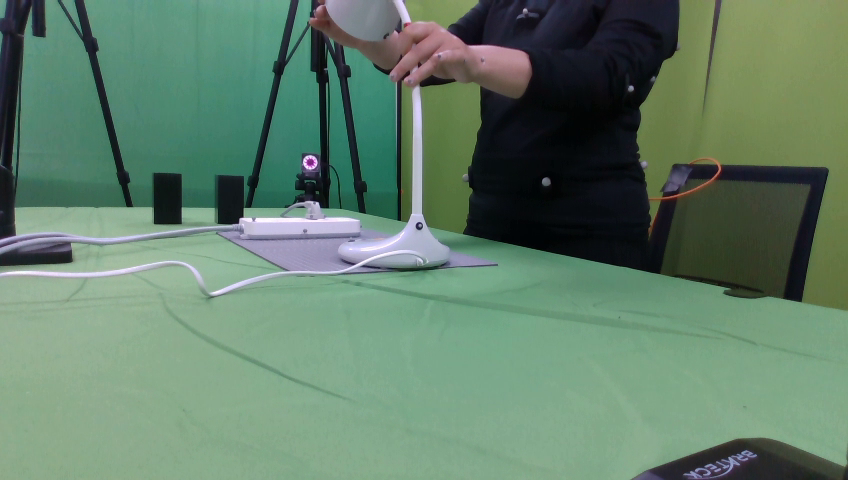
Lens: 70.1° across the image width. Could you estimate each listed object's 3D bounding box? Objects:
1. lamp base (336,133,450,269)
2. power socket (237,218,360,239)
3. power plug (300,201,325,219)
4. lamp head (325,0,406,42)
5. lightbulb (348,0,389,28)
[{"bbox_3d":[-0.032,-0.057,0.830,0.161,0.180,0.178,-2,12,-34],"label":"lamp base"},{"bbox_3d":[-0.220,-0.023,1.080,0.228,0.032,0.072,-2,8,-33],"label":"power socket"},{"bbox_3d":[-0.207,-0.045,1.120,0.035,0.052,0.072,1,3,-22],"label":"power plug"},{"bbox_3d":[-0.068,-0.354,0.842,0.113,0.112,0.122,-1,-16,-28],"label":"lamp head"},{"bbox_3d":[-0.075,-0.351,0.866,0.060,0.059,0.107,1,-22,-16],"label":"lightbulb"}]
